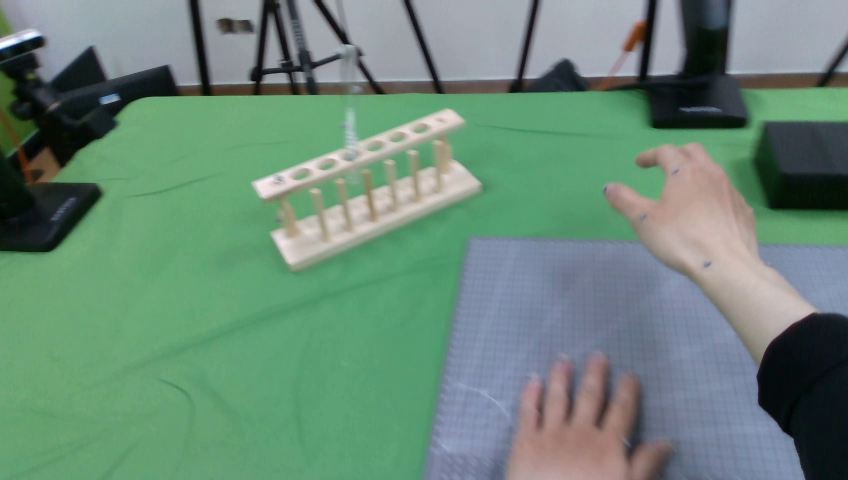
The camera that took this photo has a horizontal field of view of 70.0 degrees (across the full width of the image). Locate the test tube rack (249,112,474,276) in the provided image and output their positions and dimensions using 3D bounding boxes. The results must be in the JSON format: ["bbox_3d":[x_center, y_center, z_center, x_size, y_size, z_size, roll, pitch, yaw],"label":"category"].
[{"bbox_3d":[-0.064,-0.057,0.693,0.242,0.086,0.066,-25,45,-17],"label":"test tube rack"}]

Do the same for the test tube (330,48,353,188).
[{"bbox_3d":[-0.090,-0.132,0.665,0.017,0.151,0.017,-2,12,1],"label":"test tube"}]
